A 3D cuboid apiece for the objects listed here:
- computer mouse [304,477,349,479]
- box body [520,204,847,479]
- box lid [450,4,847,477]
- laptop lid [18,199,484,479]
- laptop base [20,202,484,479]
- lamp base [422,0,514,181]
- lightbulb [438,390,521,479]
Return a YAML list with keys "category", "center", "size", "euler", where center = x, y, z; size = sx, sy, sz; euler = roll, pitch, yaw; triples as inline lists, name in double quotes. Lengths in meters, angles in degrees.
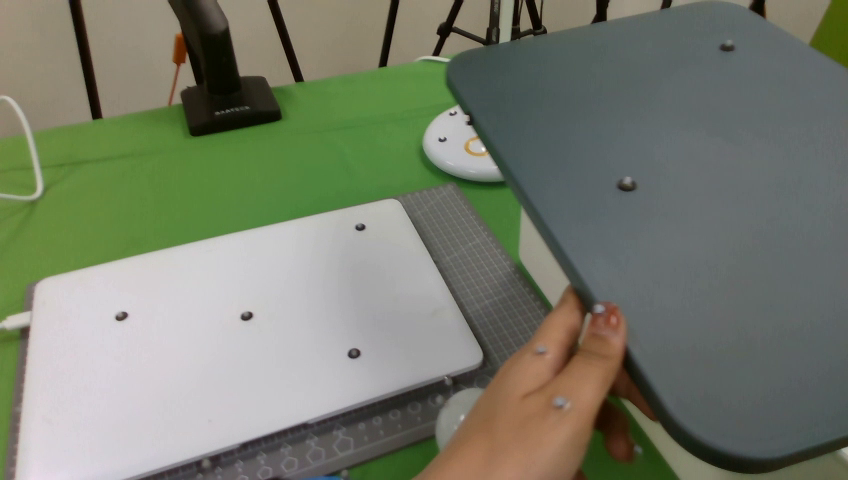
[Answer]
- category: "computer mouse"
  center: [-0.070, 0.203, 0.384]
  size: [0.063, 0.041, 0.116]
  euler: [1, 37, 5]
- category: "box body"
  center: [0.260, 0.035, 0.479]
  size: [0.255, 0.162, 0.359]
  euler: [-15, 44, -16]
- category: "box lid"
  center: [0.185, -0.054, 0.377]
  size: [0.264, 0.015, 0.367]
  euler: [-14, 44, -8]
- category: "laptop lid"
  center: [-0.151, 0.070, 0.529]
  size: [0.357, 0.013, 0.239]
  euler: [-13, 45, -14]
- category: "laptop base"
  center: [-0.152, 0.077, 0.538]
  size: [0.355, 0.023, 0.232]
  euler: [-14, 47, -16]
- category: "lamp base"
  center: [0.080, -0.189, 0.718]
  size: [0.160, 0.182, 0.178]
  euler: [8, 40, 9]
- category: "lightbulb"
  center: [0.047, 0.159, 0.426]
  size: [0.059, 0.060, 0.106]
  euler: [-12, 59, -12]
